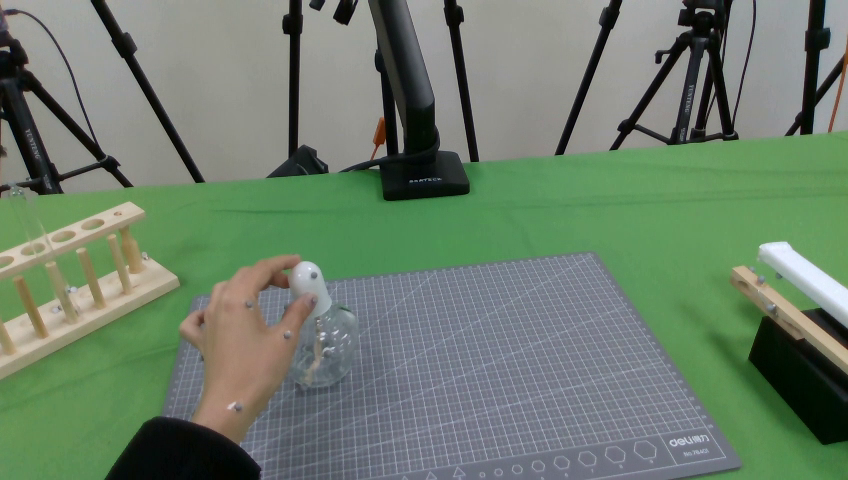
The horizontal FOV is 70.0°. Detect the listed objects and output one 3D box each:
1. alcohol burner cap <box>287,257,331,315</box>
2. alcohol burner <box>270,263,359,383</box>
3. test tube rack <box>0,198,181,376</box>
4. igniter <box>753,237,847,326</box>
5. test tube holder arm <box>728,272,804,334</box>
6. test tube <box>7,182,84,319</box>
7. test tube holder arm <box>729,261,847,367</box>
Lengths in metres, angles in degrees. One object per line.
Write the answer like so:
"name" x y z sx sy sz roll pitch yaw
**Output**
"alcohol burner cap" -0.097 0.035 0.504 0.034 0.048 0.033 -2 38 2
"alcohol burner" -0.096 0.066 0.524 0.078 0.120 0.077 0 35 0
"test tube rack" -0.372 0.051 0.588 0.066 0.086 0.242 25 42 34
"igniter" 0.368 0.072 0.492 0.057 0.025 0.273 -7 31 -7
"test tube holder arm" 0.304 0.052 0.536 0.015 0.010 0.087 -16 33 -8
"test tube" -0.349 0.014 0.562 0.017 0.151 0.017 -1 34 1
"test tube holder arm" 0.315 0.070 0.496 0.015 0.013 0.176 -16 33 -8
